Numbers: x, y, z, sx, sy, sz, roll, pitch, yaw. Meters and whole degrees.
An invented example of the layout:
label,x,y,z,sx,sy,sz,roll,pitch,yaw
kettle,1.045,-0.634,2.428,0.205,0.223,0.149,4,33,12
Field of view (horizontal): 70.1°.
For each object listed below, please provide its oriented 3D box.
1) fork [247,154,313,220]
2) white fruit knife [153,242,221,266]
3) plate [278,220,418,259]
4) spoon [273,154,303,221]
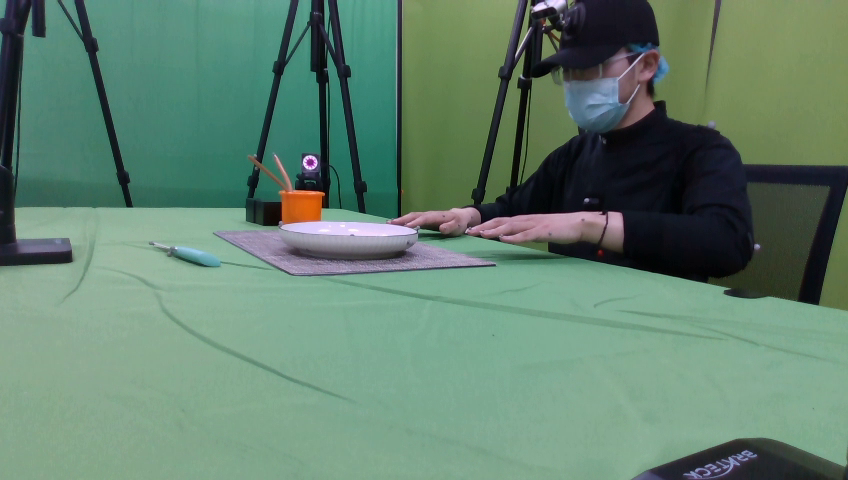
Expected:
label,x,y,z,sx,sy,sz,roll,pitch,yaw
fork,-0.275,-0.096,1.188,0.028,0.018,0.208,27,-20,48
white fruit knife,-0.335,0.016,0.832,0.206,0.016,0.027,7,-19,47
plate,-0.114,-0.002,0.914,0.209,0.038,0.209,2,8,0
spoon,-0.280,-0.107,1.247,0.021,0.193,0.042,-28,-29,9
